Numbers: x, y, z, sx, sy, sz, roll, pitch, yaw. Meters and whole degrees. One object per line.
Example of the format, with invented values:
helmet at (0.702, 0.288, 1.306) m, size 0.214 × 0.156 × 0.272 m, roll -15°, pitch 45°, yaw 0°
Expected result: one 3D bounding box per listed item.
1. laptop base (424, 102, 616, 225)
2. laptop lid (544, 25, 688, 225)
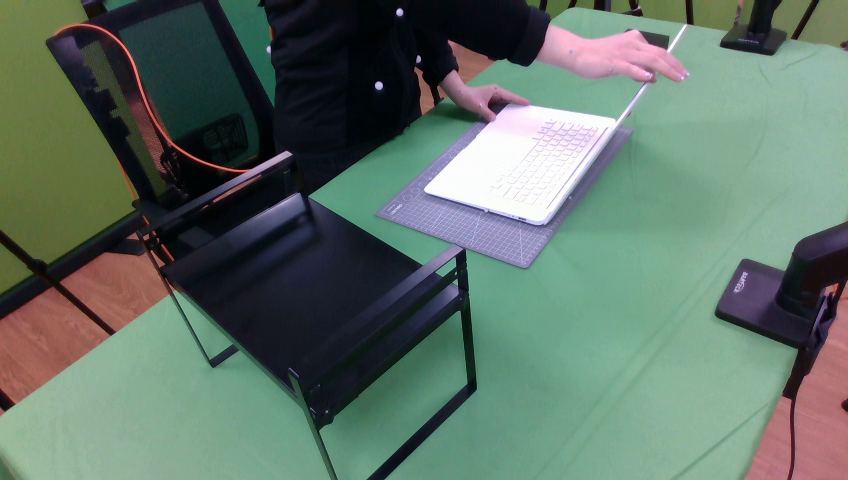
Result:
laptop base at (0.188, -0.156, 1.131) m, size 0.234 × 0.023 × 0.355 m, roll 16°, pitch 46°, yaw 30°
laptop lid at (0.316, -0.190, 0.986) m, size 0.013 × 0.241 × 0.357 m, roll 36°, pitch 51°, yaw 8°
